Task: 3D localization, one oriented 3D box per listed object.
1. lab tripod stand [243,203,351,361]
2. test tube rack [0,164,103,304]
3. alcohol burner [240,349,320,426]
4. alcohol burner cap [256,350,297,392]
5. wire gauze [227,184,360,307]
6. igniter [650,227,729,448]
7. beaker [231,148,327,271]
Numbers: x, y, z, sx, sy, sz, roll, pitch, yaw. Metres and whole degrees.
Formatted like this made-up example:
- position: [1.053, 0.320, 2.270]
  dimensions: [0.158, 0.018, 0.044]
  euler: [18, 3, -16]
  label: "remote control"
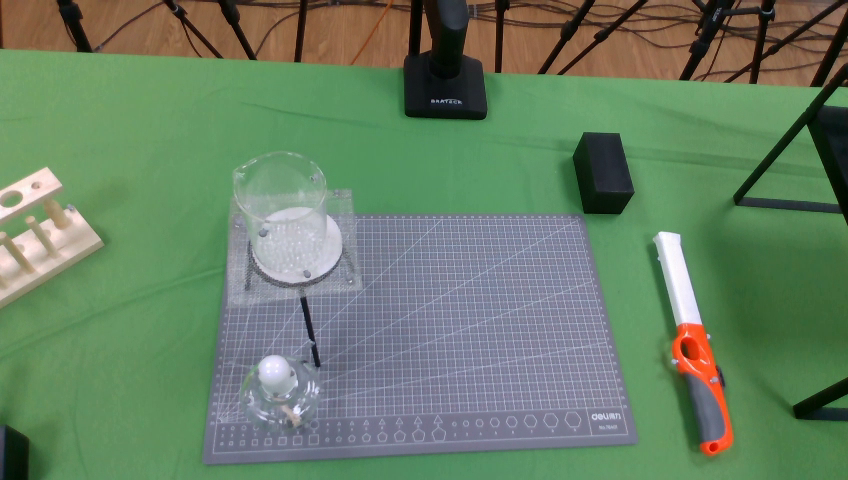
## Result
- position: [-0.130, 0.038, 0.638]
  dimensions: [0.148, 0.132, 0.147]
  euler: [4, 59, -6]
  label: "lab tripod stand"
- position: [-0.482, 0.027, 0.636]
  dimensions: [0.242, 0.086, 0.066]
  euler: [-38, 69, -25]
  label: "test tube rack"
- position: [-0.141, 0.137, 0.588]
  dimensions: [0.078, 0.120, 0.077]
  euler: [4, 57, -6]
  label: "alcohol burner"
- position: [-0.137, 0.119, 0.557]
  dimensions: [0.034, 0.048, 0.033]
  euler: [1, 63, -2]
  label: "alcohol burner cap"
- position: [-0.128, 0.000, 0.585]
  dimensions: [0.122, 0.011, 0.124]
  euler: [-6, 63, -8]
  label: "wire gauze"
- position: [0.309, 0.104, 0.714]
  dimensions: [0.057, 0.025, 0.274]
  euler: [8, 57, -14]
  label: "igniter"
- position: [-0.127, -0.024, 0.542]
  dimensions: [0.084, 0.101, 0.073]
  euler: [22, 59, 6]
  label: "beaker"
